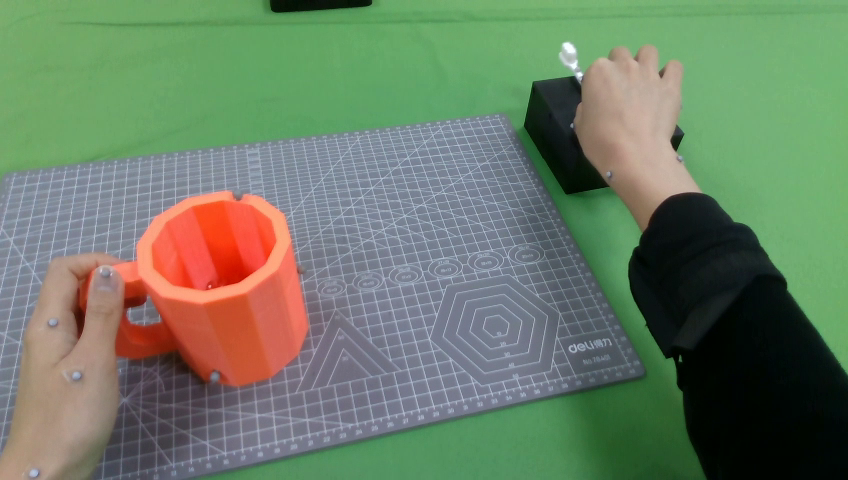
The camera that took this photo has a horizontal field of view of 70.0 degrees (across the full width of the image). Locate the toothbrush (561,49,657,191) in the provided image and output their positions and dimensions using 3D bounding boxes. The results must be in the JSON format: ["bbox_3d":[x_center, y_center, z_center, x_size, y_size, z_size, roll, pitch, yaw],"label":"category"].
[{"bbox_3d":[0.157,-0.109,0.523,0.014,0.017,0.180,-9,52,-10],"label":"toothbrush"}]

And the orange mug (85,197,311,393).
[{"bbox_3d":[-0.138,0.040,0.383,0.126,0.101,0.082,-11,50,-18],"label":"orange mug"}]
